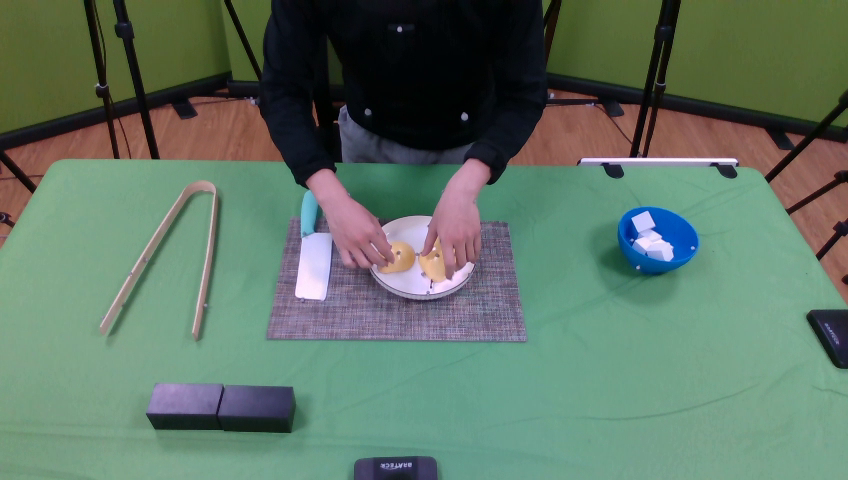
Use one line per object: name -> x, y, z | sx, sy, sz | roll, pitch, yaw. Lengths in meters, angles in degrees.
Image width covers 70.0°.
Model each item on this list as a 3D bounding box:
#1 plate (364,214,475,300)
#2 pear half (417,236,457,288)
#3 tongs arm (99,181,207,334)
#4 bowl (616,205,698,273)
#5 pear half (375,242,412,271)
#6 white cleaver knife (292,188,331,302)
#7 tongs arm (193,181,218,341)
plate -> -0.010, 0.036, 1.146 | 0.208, 0.039, 0.206 | 2, 46, -2
pear half -> 0.022, 0.039, 1.127 | 0.076, 0.056, 0.109 | 6, 50, 7
tongs arm -> -0.494, 0.018, 1.132 | 0.051, 0.026, 0.382 | 7, 45, -1
bowl -> 0.443, 0.010, 1.182 | 0.151, 0.077, 0.150 | 2, 46, -2
pear half -> -0.058, 0.027, 1.144 | 0.070, 0.031, 0.088 | 26, 35, 23
white cleaver knife -> -0.215, 0.006, 1.178 | 0.066, 0.021, 0.284 | 4, 50, -10
tongs arm -> -0.413, 0.025, 1.140 | 0.028, 0.028, 0.385 | -5, 47, -7
